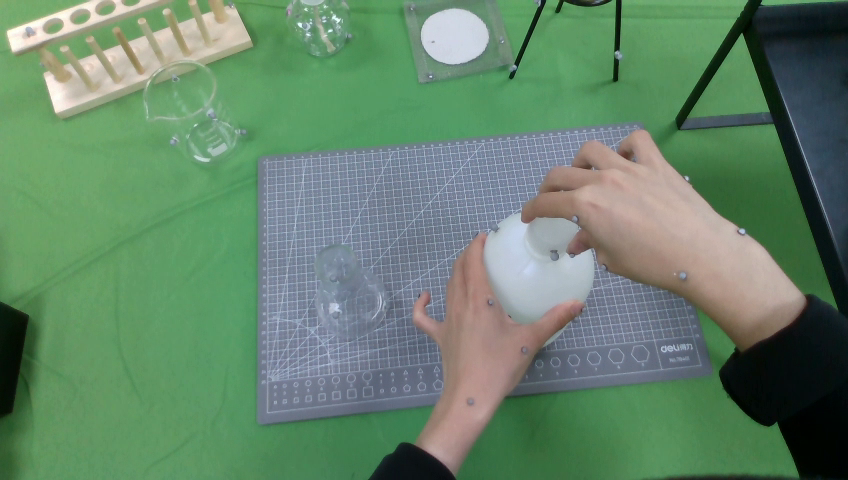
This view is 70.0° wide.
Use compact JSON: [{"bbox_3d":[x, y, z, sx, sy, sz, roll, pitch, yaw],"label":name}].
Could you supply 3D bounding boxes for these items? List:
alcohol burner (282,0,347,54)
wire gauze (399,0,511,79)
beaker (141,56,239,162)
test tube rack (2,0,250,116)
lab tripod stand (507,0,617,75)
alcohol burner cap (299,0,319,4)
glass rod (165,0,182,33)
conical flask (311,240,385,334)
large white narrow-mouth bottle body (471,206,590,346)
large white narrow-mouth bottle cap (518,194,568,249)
[{"bbox_3d":[-0.131,-0.278,0.713,0.078,0.120,0.077,0,65,0],"label":"alcohol burner"},{"bbox_3d":[0.038,-0.263,0.763,0.121,0.011,0.124,-10,68,-5],"label":"wire gauze"},{"bbox_3d":[-0.252,-0.136,0.662,0.073,0.101,0.084,39,73,15],"label":"beaker"},{"bbox_3d":[-0.340,-0.239,0.711,0.242,0.086,0.066,-25,70,-10],"label":"test tube rack"},{"bbox_3d":[0.169,-0.261,0.694,0.148,0.132,0.147,1,67,-1],"label":"lab tripod stand"},{"bbox_3d":[-0.131,-0.294,0.680,0.034,0.048,0.033,4,66,-8],"label":"alcohol burner cap"},{"bbox_3d":[-0.296,-0.301,0.664,0.008,0.201,0.008,2,65,-4],"label":"glass rod"},{"bbox_3d":[-0.078,0.040,0.575,0.075,0.122,0.075,0,67,1],"label":"conical flask"},{"bbox_3d":[0.094,0.027,0.543,0.102,0.196,0.101,-1,67,2],"label":"large white narrow-mouth bottle body"},{"bbox_3d":[0.088,-0.013,0.451,0.038,0.024,0.037,-1,67,2],"label":"large white narrow-mouth bottle cap"}]
